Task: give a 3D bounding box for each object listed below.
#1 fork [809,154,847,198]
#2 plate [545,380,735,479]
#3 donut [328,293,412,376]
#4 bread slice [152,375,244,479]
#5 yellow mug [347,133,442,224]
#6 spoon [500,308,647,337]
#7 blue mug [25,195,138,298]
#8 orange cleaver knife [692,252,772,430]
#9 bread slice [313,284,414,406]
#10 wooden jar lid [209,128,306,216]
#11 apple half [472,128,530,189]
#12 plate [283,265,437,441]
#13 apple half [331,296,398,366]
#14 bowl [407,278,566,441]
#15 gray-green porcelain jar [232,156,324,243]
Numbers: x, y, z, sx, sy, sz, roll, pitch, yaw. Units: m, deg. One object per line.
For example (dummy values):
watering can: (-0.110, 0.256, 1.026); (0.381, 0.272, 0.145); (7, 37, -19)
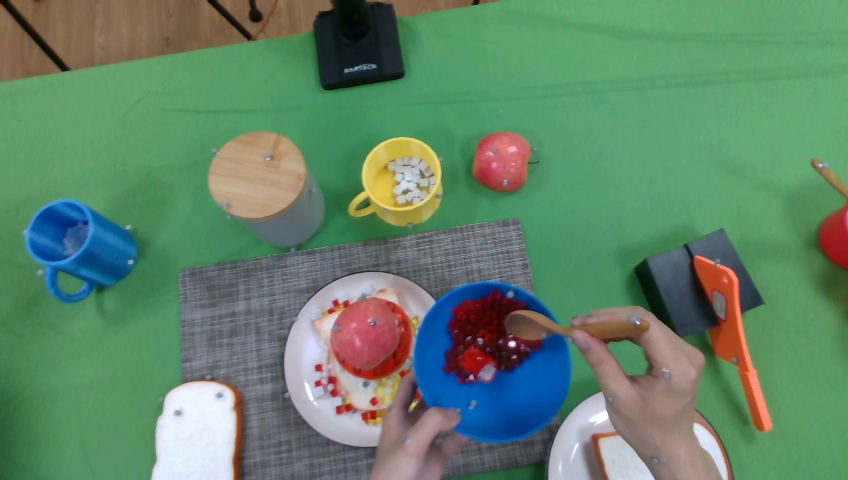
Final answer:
fork: (0.498, -0.043, 0.708); (0.209, 0.018, 0.028); (33, 73, -33)
plate: (0.240, 0.266, 0.688); (0.209, 0.038, 0.208); (-1, 74, 3)
donut: (-0.063, 0.110, 0.711); (0.099, 0.048, 0.098); (-1, 75, 3)
bread slice: (-0.270, 0.229, 0.727); (0.105, 0.019, 0.131); (-1, 76, 1)
yellow mug: (-0.042, -0.070, 0.780); (0.131, 0.064, 0.099); (-31, 75, -5)
spoon: (0.114, 0.068, 0.487); (0.042, 0.193, 0.021); (37, 75, -11)
blue mug: (-0.425, 0.016, 0.750); (0.082, 0.106, 0.116); (11, 75, 6)
orange cleaver knife: (0.354, 0.115, 0.703); (0.012, 0.077, 0.211); (-19, 96, -10)
bread slice: (-0.059, 0.132, 0.736); (0.107, 0.018, 0.133); (-25, 76, -5)
wooden jar lid: (-0.188, -0.075, 0.689); (0.108, 0.021, 0.107); (0, 72, 1)
apple half: (0.101, -0.113, 0.793); (0.074, 0.053, 0.080); (12, 75, 9)
plate: (-0.064, 0.134, 0.734); (0.207, 0.039, 0.206); (-1, 74, 2)
apple half: (-0.068, 0.100, 0.677); (0.081, 0.033, 0.081); (-3, 72, 9)
bowl: (0.055, 0.120, 0.594); (0.151, 0.077, 0.150); (2, 71, -6)
gray-green porcelain jar: (-0.184, -0.058, 0.751); (0.106, 0.127, 0.105); (-1, 74, 2)
